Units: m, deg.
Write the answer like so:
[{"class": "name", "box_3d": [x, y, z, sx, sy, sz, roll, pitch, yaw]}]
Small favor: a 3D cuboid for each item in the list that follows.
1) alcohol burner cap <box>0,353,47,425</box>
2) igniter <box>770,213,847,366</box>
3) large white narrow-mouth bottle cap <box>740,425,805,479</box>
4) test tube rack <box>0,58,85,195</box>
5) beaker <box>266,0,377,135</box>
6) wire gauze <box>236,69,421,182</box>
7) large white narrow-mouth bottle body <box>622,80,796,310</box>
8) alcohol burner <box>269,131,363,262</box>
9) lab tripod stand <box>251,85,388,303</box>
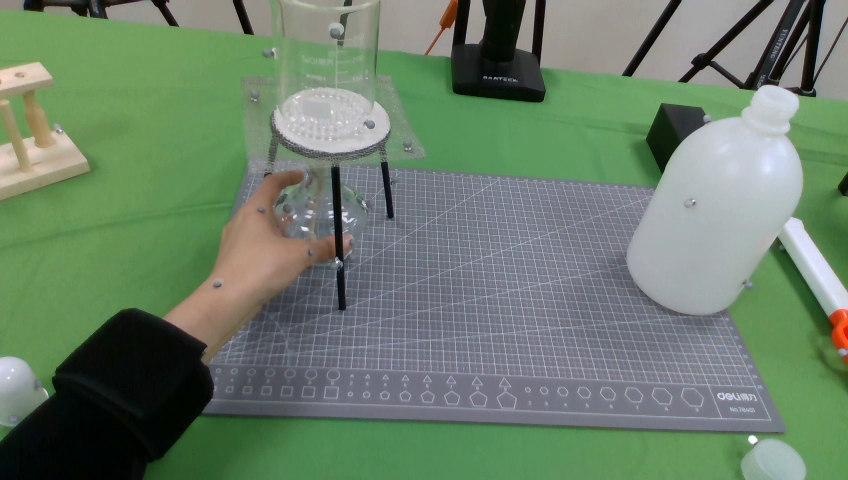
[{"class": "alcohol burner cap", "box_3d": [-0.267, 0.093, 0.388, 0.034, 0.048, 0.033, 6, 43, -6]}, {"class": "igniter", "box_3d": [0.370, 0.070, 0.534, 0.057, 0.025, 0.273, 13, 42, -12]}, {"class": "large white narrow-mouth bottle cap", "box_3d": [0.247, 0.153, 0.430, 0.038, 0.024, 0.037, 5, 43, -4]}, {"class": "test tube rack", "box_3d": [-0.429, -0.070, 0.499, 0.242, 0.086, 0.066, -28, 55, -33]}, {"class": "beaker", "box_3d": [-0.073, -0.131, 0.419, 0.084, 0.101, 0.073, -1, 46, -11]}, {"class": "wire gauze", "box_3d": [-0.075, -0.093, 0.451, 0.122, 0.011, 0.123, -7, 49, -14]}, {"class": "large white narrow-mouth bottle body", "box_3d": [0.240, -0.037, 0.498, 0.102, 0.196, 0.101, 4, 43, -4]}, {"class": "alcohol burner", "box_3d": [-0.089, -0.039, 0.502, 0.078, 0.120, 0.077, 7, 42, -6]}, {"class": "lab tripod stand", "box_3d": [-0.078, -0.044, 0.494, 0.148, 0.132, 0.147, 6, 44, -6]}]
